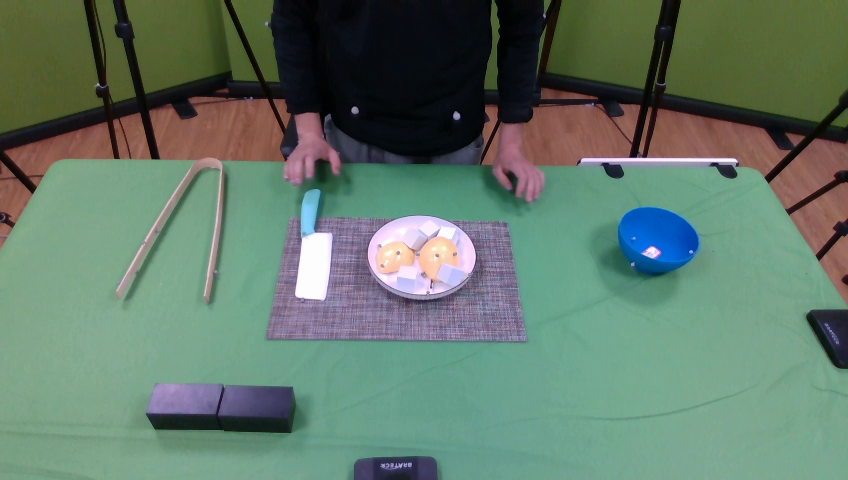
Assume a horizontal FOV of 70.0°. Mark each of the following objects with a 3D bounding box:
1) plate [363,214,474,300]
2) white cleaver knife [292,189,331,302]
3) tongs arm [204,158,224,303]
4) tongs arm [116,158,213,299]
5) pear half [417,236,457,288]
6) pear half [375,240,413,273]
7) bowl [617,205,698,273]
[{"bbox_3d":[-0.010,0.036,1.146,0.208,0.039,0.206,2,46,-2],"label":"plate"},{"bbox_3d":[-0.215,0.006,1.178,0.066,0.021,0.284,4,49,-11],"label":"white cleaver knife"},{"bbox_3d":[-0.416,-0.032,1.191,0.028,0.028,0.385,-6,47,-7],"label":"tongs arm"},{"bbox_3d":[-0.496,-0.037,1.184,0.051,0.026,0.382,5,45,0],"label":"tongs arm"},{"bbox_3d":[0.022,0.039,1.127,0.076,0.056,0.109,5,50,7],"label":"pear half"},{"bbox_3d":[-0.059,0.026,1.145,0.070,0.031,0.088,22,43,21],"label":"pear half"},{"bbox_3d":[0.444,0.011,1.182,0.151,0.077,0.150,2,46,-2],"label":"bowl"}]
